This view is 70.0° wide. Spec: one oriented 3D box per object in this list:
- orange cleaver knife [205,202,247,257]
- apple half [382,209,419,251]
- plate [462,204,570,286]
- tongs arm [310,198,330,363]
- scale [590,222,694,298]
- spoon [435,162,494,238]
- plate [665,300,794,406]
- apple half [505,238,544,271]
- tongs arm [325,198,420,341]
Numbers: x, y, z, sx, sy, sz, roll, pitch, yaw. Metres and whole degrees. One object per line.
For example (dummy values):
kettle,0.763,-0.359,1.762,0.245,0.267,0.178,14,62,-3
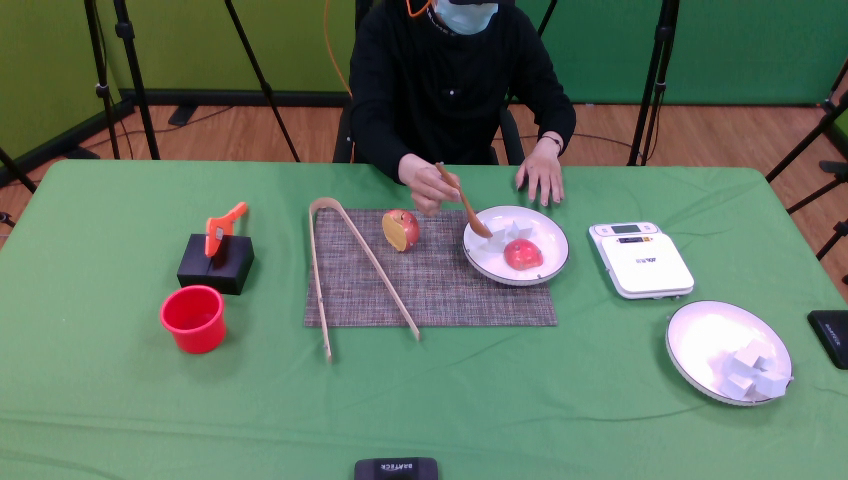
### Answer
orange cleaver knife,-0.374,-0.023,1.151,0.012,0.077,0.210,4,16,1
apple half,-0.039,-0.022,1.175,0.053,0.075,0.080,-27,50,-31
plate,0.177,0.013,1.180,0.209,0.038,0.208,2,46,-2
tongs arm,-0.180,0.058,1.117,0.051,0.026,0.382,-9,47,-11
scale,0.424,0.031,1.189,0.149,0.032,0.199,-3,46,-7
spoon,0.071,-0.068,1.076,0.041,0.195,0.021,10,52,50
plate,0.513,0.194,1.034,0.208,0.039,0.206,2,46,-2
apple half,0.193,0.020,1.167,0.081,0.033,0.081,3,49,-3
tongs arm,-0.102,0.043,1.140,0.028,0.028,0.385,-22,51,-18
